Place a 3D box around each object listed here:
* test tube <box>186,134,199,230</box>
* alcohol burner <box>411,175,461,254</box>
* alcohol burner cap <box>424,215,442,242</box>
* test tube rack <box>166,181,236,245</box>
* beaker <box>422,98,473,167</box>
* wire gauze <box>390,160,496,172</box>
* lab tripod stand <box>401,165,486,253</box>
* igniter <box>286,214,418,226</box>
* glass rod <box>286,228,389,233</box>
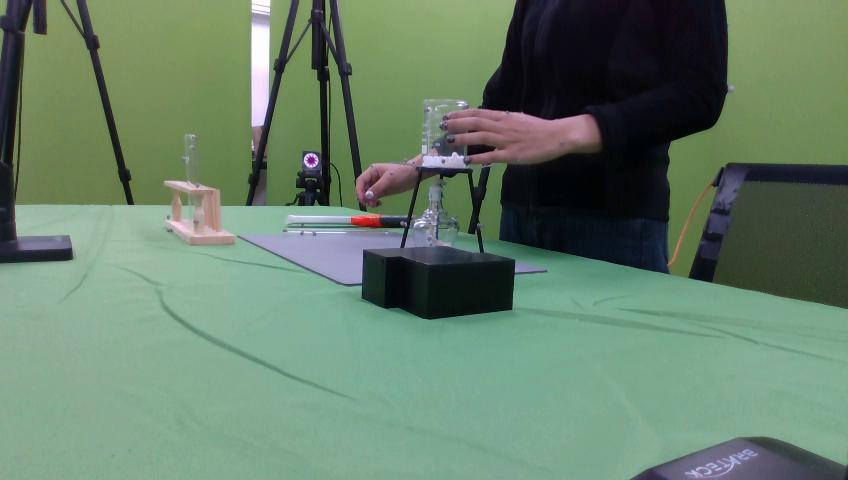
[{"bbox_3d":[-0.360,-0.089,0.946,0.017,0.150,0.017,0,10,0],"label":"test tube"},{"bbox_3d":[0.018,-0.040,0.931,0.078,0.119,0.078,0,7,0],"label":"alcohol burner"},{"bbox_3d":[0.016,-0.022,1.098,0.034,0.048,0.034,2,9,0],"label":"alcohol burner cap"},{"bbox_3d":[-0.383,-0.051,1.024,0.067,0.085,0.241,-2,9,-31],"label":"test tube rack"},{"bbox_3d":[0.031,-0.162,0.919,0.074,0.100,0.083,-4,10,-36],"label":"beaker"},{"bbox_3d":[0.027,-0.114,0.920,0.122,0.011,0.124,-5,13,-34],"label":"wire gauze"},{"bbox_3d":[0.028,-0.049,0.930,0.148,0.131,0.148,3,9,0],"label":"lab tripod stand"},{"bbox_3d":[-0.145,-0.043,1.262,0.278,0.025,0.057,-1,-2,-25],"label":"igniter"},{"bbox_3d":[-0.153,-0.016,1.101,0.201,0.008,0.008,1,7,-31],"label":"glass rod"}]
